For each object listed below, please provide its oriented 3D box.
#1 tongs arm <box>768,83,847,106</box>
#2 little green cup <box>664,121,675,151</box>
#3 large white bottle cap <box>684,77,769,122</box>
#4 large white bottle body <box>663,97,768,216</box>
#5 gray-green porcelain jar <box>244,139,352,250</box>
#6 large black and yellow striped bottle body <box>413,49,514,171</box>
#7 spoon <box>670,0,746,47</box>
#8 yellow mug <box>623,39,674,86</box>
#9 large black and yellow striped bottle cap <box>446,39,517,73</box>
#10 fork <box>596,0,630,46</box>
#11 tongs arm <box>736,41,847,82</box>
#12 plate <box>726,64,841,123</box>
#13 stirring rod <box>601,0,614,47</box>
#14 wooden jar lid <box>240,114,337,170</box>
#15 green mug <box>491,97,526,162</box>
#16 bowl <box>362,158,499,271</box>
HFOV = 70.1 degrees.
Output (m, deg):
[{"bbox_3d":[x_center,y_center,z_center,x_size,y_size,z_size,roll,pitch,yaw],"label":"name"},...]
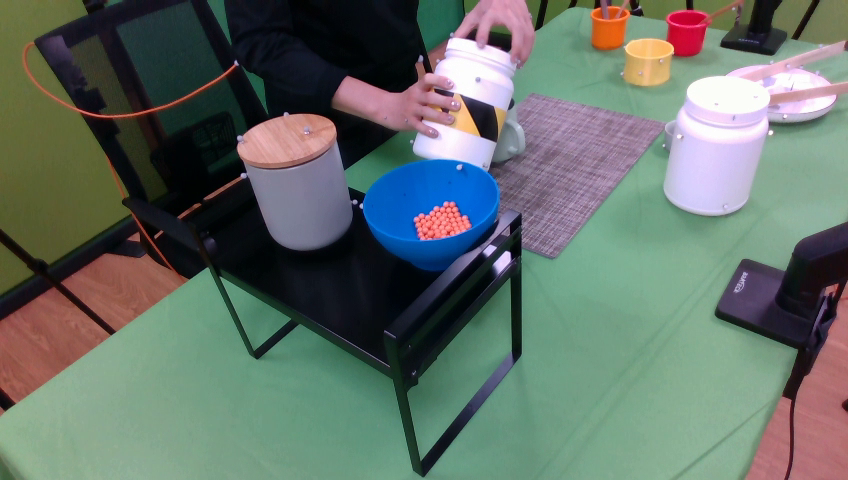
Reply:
[{"bbox_3d":[0.738,-0.281,1.134,0.388,0.028,0.028,-9,47,-5],"label":"tongs arm"},{"bbox_3d":[0.473,-0.188,1.113,0.061,0.039,0.061,-5,40,5],"label":"little green cup"},{"bbox_3d":[0.448,-0.210,0.898,0.115,0.018,0.114,-4,40,4],"label":"large white bottle cap"},{"bbox_3d":[0.458,-0.146,0.952,0.130,0.185,0.130,-4,40,4],"label":"large white bottle body"},{"bbox_3d":[-0.144,-0.060,0.714,0.106,0.127,0.105,-4,41,4],"label":"gray-green porcelain jar"},{"bbox_3d":[0.067,-0.211,0.972,0.131,0.184,0.130,17,10,-2],"label":"large black and yellow striped bottle body"},{"bbox_3d":[0.629,-0.485,1.350,0.022,0.193,0.042,47,54,-7],"label":"spoon"},{"bbox_3d":[0.485,-0.398,1.334,0.100,0.064,0.130,-18,41,-11],"label":"yellow mug"},{"bbox_3d":[0.092,-0.290,0.958,0.115,0.019,0.115,18,11,-3],"label":"large black and yellow striped bottle cap"},{"bbox_3d":[0.481,-0.556,1.452,0.028,0.019,0.207,40,103,38],"label":"fork"},{"bbox_3d":[0.712,-0.332,1.194,0.386,0.026,0.050,-19,45,-16],"label":"tongs arm"},{"bbox_3d":[0.695,-0.282,1.189,0.207,0.039,0.206,-4,40,4],"label":"plate"},{"bbox_3d":[0.439,-0.552,1.463,0.014,0.006,0.175,-7,83,3],"label":"stirring rod"},{"bbox_3d":[-0.149,-0.106,0.673,0.108,0.021,0.108,-6,38,5],"label":"wooden jar lid"},{"bbox_3d":[0.144,-0.201,1.122,0.093,0.105,0.124,-29,45,-23],"label":"green mug"},{"bbox_3d":[0.011,-0.019,0.679,0.151,0.077,0.150,-5,41,5],"label":"bowl"}]
